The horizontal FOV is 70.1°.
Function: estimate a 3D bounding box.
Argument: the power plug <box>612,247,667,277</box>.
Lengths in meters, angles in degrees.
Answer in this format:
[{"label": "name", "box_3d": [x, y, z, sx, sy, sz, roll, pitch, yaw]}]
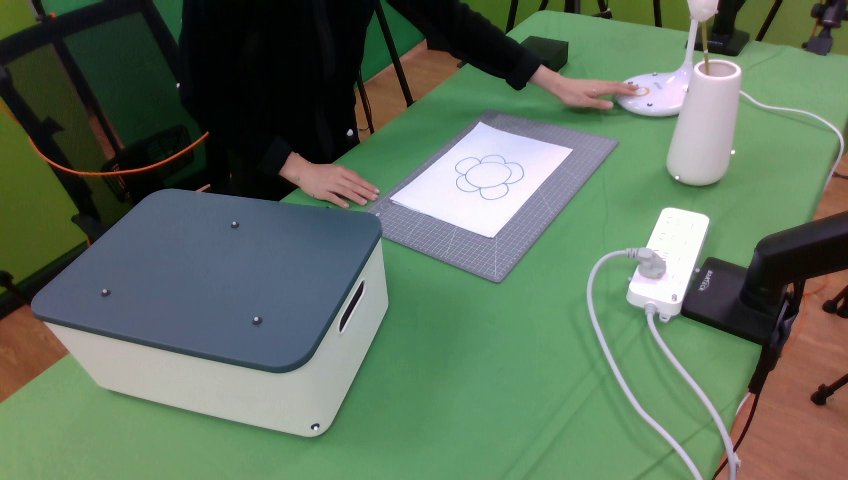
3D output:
[{"label": "power plug", "box_3d": [0.306, 0.031, 0.852, 0.072, 0.053, 0.035, 21, 48, 38]}]

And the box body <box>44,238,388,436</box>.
[{"label": "box body", "box_3d": [-0.251, 0.088, 0.800, 0.362, 0.161, 0.254, 7, 42, 16]}]

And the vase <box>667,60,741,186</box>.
[{"label": "vase", "box_3d": [0.463, -0.189, 0.994, 0.098, 0.201, 0.097, -4, 40, 4]}]

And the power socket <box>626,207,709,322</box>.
[{"label": "power socket", "box_3d": [0.360, 0.026, 0.886, 0.072, 0.033, 0.227, 17, 46, 27]}]

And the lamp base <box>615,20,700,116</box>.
[{"label": "lamp base", "box_3d": [0.484, -0.364, 1.211, 0.180, 0.181, 0.159, -15, 41, -14]}]

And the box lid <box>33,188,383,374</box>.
[{"label": "box lid", "box_3d": [-0.257, 0.032, 0.751, 0.370, 0.015, 0.263, 8, 42, 16]}]

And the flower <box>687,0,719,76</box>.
[{"label": "flower", "box_3d": [0.436, -0.242, 0.934, 0.038, 0.364, 0.043, -23, 49, 9]}]
